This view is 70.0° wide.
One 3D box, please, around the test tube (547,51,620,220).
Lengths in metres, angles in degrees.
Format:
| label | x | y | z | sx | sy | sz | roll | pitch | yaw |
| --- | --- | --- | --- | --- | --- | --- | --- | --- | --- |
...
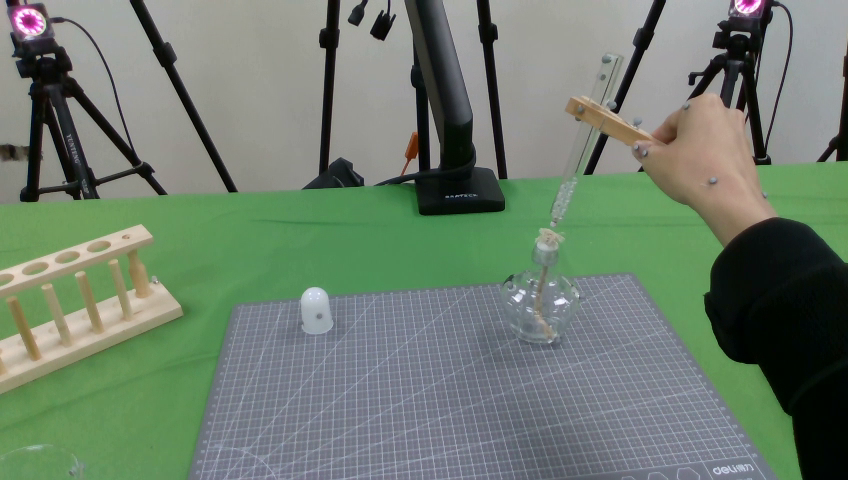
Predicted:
| label | x | y | z | sx | sy | sz | roll | pitch | yaw |
| --- | --- | --- | --- | --- | --- | --- | --- | --- | --- |
| test tube | 0.134 | -0.085 | 0.517 | 0.017 | 0.151 | 0.017 | 12 | 27 | -6 |

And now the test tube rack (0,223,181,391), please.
| label | x | y | z | sx | sy | sz | roll | pitch | yaw |
| --- | --- | --- | --- | --- | --- | --- | --- | --- | --- |
| test tube rack | -0.371 | 0.072 | 0.575 | 0.243 | 0.086 | 0.066 | -25 | 40 | -33 |

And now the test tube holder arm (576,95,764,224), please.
| label | x | y | z | sx | sy | sz | roll | pitch | yaw |
| --- | --- | --- | --- | --- | --- | --- | --- | --- | --- |
| test tube holder arm | 0.183 | -0.068 | 0.473 | 0.013 | 0.015 | 0.176 | -14 | 45 | -40 |

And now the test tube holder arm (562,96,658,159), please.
| label | x | y | z | sx | sy | sz | roll | pitch | yaw |
| --- | --- | --- | --- | --- | --- | --- | --- | --- | --- |
| test tube holder arm | 0.151 | -0.092 | 0.492 | 0.087 | 0.015 | 0.010 | 38 | 37 | 26 |

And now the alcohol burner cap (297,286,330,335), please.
| label | x | y | z | sx | sy | sz | roll | pitch | yaw |
| --- | --- | --- | --- | --- | --- | --- | --- | --- | --- |
| alcohol burner cap | -0.113 | 0.069 | 0.612 | 0.034 | 0.048 | 0.033 | -1 | 32 | 1 |

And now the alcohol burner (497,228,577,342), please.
| label | x | y | z | sx | sy | sz | roll | pitch | yaw |
| --- | --- | --- | --- | --- | --- | --- | --- | --- | --- |
| alcohol burner | 0.112 | 0.040 | 0.588 | 0.078 | 0.120 | 0.077 | 1 | 32 | 0 |

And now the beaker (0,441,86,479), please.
| label | x | y | z | sx | sy | sz | roll | pitch | yaw |
| --- | --- | --- | --- | --- | --- | --- | --- | --- | --- |
| beaker | -0.240 | 0.187 | 0.374 | 0.084 | 0.101 | 0.073 | 0 | 32 | 2 |
